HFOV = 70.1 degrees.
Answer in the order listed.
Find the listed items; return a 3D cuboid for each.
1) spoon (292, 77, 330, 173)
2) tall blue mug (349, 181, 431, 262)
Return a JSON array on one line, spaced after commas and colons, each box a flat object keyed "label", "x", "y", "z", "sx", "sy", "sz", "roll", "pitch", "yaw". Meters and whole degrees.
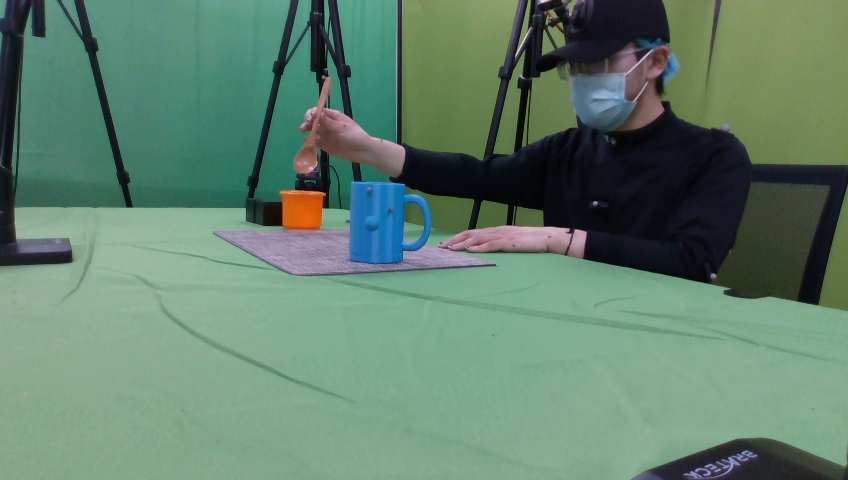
[{"label": "spoon", "x": -0.204, "y": -0.216, "z": 1.133, "sx": 0.041, "sy": 0.193, "sz": 0.021, "roll": 16, "pitch": -6, "yaw": -2}, {"label": "tall blue mug", "x": -0.051, "y": -0.028, "z": 0.849, "sx": 0.108, "sy": 0.108, "sz": 0.077, "roll": -1, "pitch": 7, "yaw": -22}]
